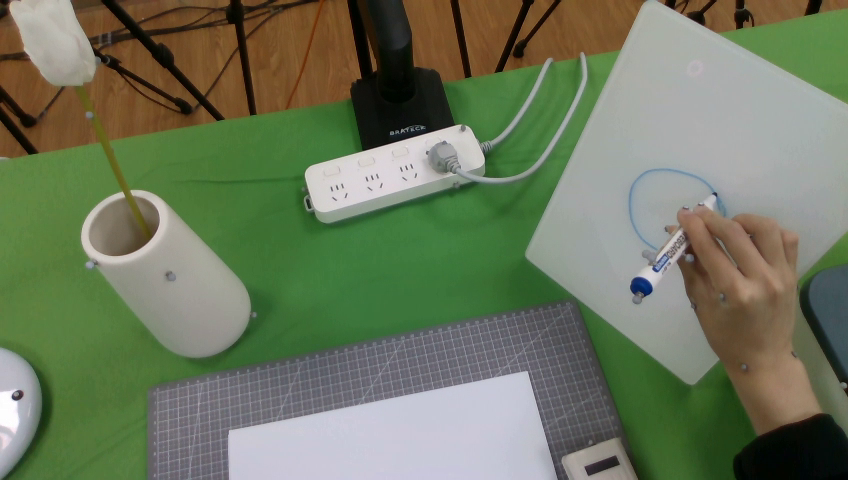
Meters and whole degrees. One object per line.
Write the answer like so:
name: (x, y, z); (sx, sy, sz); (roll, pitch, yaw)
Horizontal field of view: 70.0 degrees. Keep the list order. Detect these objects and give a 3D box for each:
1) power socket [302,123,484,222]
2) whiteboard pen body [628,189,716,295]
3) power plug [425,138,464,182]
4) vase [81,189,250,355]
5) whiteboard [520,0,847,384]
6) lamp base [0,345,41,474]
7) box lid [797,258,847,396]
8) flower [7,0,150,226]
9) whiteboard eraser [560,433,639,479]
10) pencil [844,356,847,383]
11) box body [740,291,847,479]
power socket: (-0.035, -0.082, 0.718); (0.227, 0.033, 0.071); (-16, 63, -8)
whiteboard pen body: (0.192, -0.004, 0.456); (0.017, 0.017, 0.140); (37, 54, 20)
power plug: (0.022, -0.084, 0.691); (0.035, 0.053, 0.072); (-8, 62, -2)
vase: (-0.234, 0.035, 0.565); (0.098, 0.201, 0.097); (-1, 61, 3)
whiteboard: (0.261, -0.050, 0.572); (0.215, 0.307, 0.144); (40, 50, 22)
lamp base: (-0.472, 0.134, 0.527); (0.178, 0.182, 0.160); (17, 62, 14)
box lid: (0.456, 0.154, 0.414); (0.263, 0.015, 0.368); (-12, 62, -5)
flower: (-0.234, -0.022, 0.502); (0.038, 0.365, 0.043); (-22, 44, -18)
whiteboard eraser: (0.167, 0.232, 0.531); (0.056, 0.042, 0.111); (-16, 61, -9)
pencil: (0.406, 0.201, 0.557); (0.012, 0.012, 0.192); (7, 64, 6)
box body: (0.459, 0.193, 0.479); (0.254, 0.162, 0.360); (-12, 61, -5)
